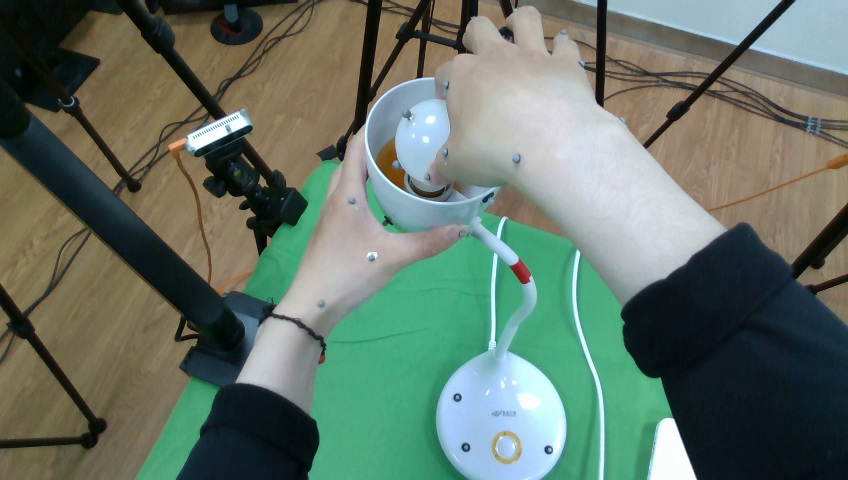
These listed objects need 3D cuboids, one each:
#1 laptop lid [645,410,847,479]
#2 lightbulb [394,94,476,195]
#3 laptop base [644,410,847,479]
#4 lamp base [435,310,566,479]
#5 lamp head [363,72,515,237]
[{"bbox_3d":[0.414,0.356,0.671,0.356,0.013,0.240,19,65,9],"label":"laptop lid"},{"bbox_3d":[0.006,-0.065,0.457,0.059,0.108,0.059,2,67,-6],"label":"lightbulb"},{"bbox_3d":[0.415,0.359,0.683,0.353,0.023,0.234,18,66,8],"label":"laptop base"},{"bbox_3d":[0.092,0.165,0.683,0.161,0.181,0.177,-9,60,-6],"label":"lamp base"},{"bbox_3d":[0.009,-0.051,0.485,0.112,0.124,0.111,1,61,-2],"label":"lamp head"}]
